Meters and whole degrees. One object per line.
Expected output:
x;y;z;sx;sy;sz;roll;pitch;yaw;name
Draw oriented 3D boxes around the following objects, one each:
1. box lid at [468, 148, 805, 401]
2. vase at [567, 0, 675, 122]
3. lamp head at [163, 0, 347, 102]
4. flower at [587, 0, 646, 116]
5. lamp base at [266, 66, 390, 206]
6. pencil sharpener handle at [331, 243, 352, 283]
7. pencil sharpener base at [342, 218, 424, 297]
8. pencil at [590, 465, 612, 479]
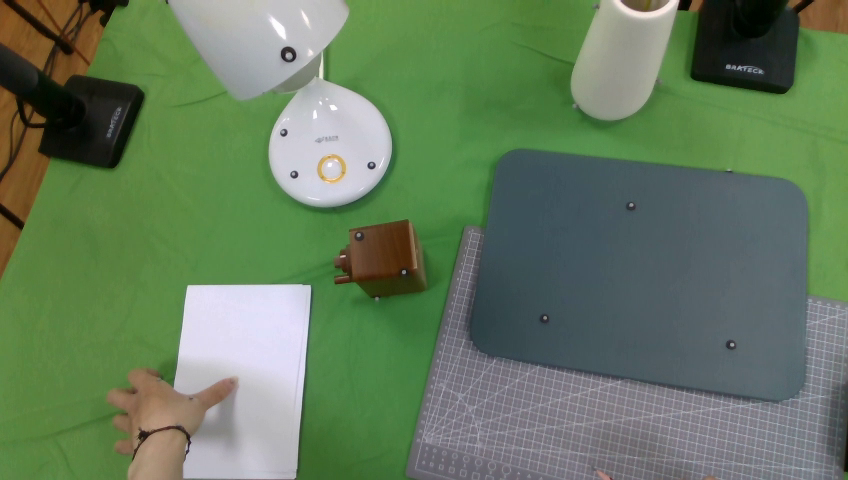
0.250;0.031;0.709;0.371;0.015;0.262;8;75;8;box lid
0.222;-0.216;0.683;0.098;0.201;0.097;-1;73;4;vase
-0.133;-0.180;0.429;0.112;0.124;0.111;-27;33;19;lamp head
0.226;-0.250;0.606;0.044;0.364;0.038;-12;61;-14;flower
-0.136;-0.152;0.709;0.160;0.181;0.178;-18;71;0;lamp base
-0.096;0.031;0.679;0.030;0.068;0.035;-9;61;4;pencil sharpener handle
-0.045;0.023;0.689;0.076;0.107;0.061;-9;74;4;pencil sharpener base
0.234;0.282;0.583;0.194;0.012;0.012;41;82;2;pencil
